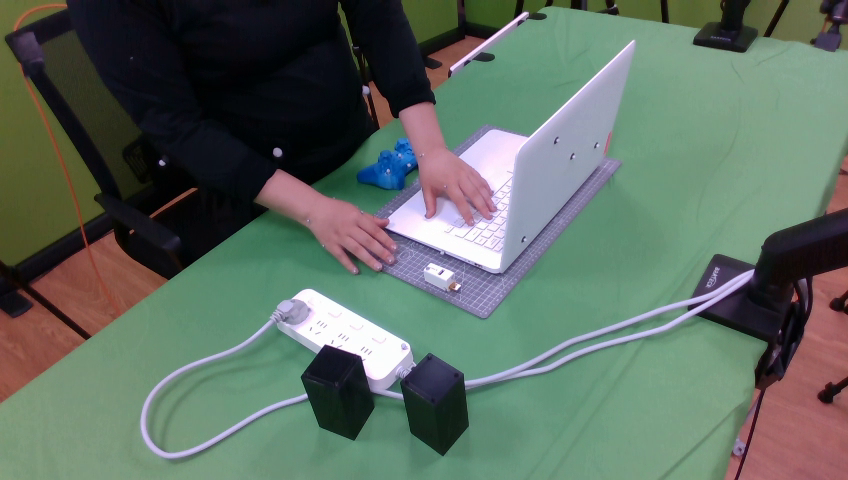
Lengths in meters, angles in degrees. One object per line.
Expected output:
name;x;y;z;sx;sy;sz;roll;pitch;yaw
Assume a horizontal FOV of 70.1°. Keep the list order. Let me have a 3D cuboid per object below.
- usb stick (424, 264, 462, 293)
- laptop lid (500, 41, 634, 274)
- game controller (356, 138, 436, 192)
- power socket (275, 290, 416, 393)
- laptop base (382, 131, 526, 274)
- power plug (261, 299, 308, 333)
usb stick;0.029;0.058;0.888;0.059;0.027;0.021;24;49;30
laptop lid;0.218;-0.127;0.905;0.013;0.242;0.358;28;50;25
game controller;-0.048;-0.149;1.135;0.096;0.052;0.155;27;51;28
power socket;-0.114;0.133;0.820;0.225;0.033;0.072;24;48;31
laptop base;0.124;-0.080;1.049;0.233;0.023;0.355;20;47;33
power plug;-0.192;0.110;0.829;0.073;0.053;0.035;-35;47;-23
